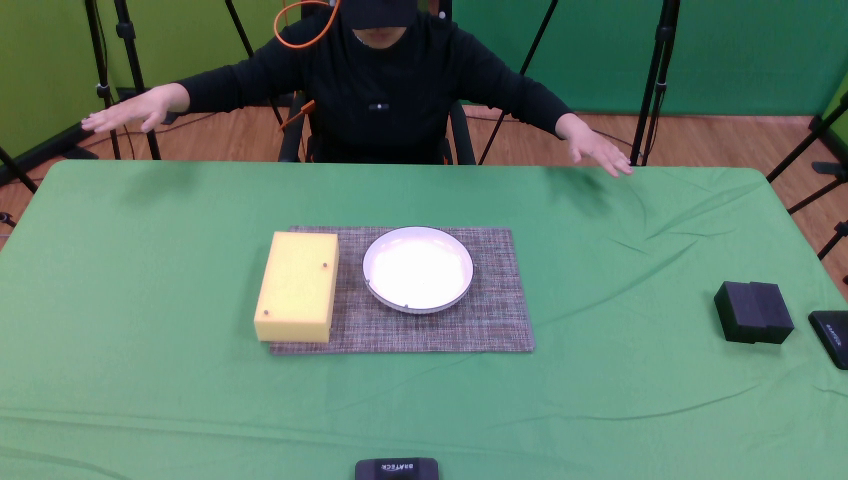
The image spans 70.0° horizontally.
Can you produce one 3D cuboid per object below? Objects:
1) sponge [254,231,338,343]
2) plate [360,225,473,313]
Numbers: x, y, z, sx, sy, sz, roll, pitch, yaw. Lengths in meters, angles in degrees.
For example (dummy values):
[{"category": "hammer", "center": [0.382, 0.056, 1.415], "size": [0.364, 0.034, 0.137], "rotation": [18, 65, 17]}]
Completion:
[{"category": "sponge", "center": [-0.221, 0.079, 1.073], "size": [0.118, 0.061, 0.205], "rotation": [1, 46, -3]}, {"category": "plate", "center": [-0.014, 0.057, 1.126], "size": [0.208, 0.039, 0.206], "rotation": [2, 46, -2]}]
